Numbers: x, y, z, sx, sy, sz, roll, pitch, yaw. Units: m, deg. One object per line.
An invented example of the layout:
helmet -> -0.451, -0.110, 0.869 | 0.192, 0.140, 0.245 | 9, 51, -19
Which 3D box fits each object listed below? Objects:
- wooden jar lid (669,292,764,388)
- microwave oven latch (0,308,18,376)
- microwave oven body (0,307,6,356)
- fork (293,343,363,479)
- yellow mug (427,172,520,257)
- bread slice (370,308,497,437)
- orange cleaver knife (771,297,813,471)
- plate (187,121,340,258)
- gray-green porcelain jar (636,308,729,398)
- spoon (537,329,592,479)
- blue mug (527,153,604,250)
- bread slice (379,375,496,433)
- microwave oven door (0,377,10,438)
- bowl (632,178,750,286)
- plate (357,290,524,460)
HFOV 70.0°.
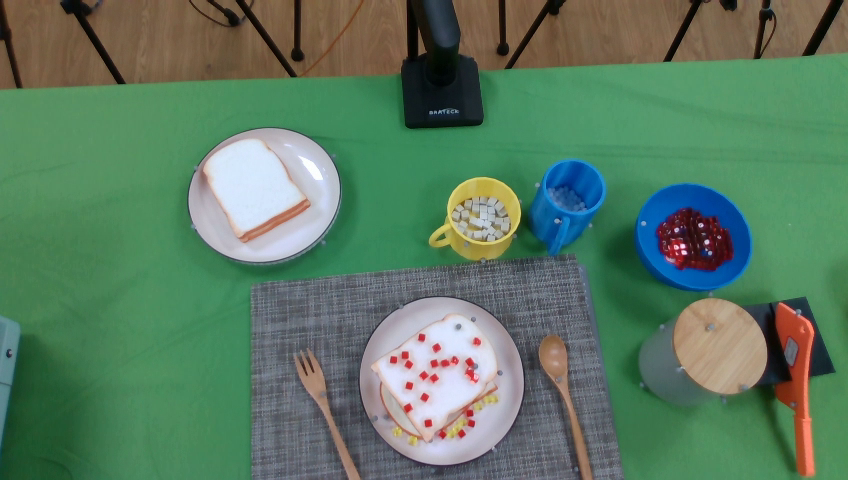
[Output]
wooden jar lid -> 0.328, 0.113, 0.685 | 0.108, 0.021, 0.107 | 1, 71, -4
microwave oven latch -> -0.522, 0.125, 0.741 | 0.030, 0.029, 0.078 | 1, 70, -2
microwave oven body -> -0.656, 0.261, 0.581 | 0.326, 0.261, 0.438 | -3, 70, -3
fork -> -0.114, 0.222, 0.747 | 0.028, 0.019, 0.206 | -22, 70, -18
yellow mug -> 0.063, -0.028, 0.828 | 0.131, 0.064, 0.099 | -24, 71, -9
bread slice -> 0.017, 0.144, 0.709 | 0.134, 0.018, 0.106 | -38, 80, -20
orange cleaver knife -> 0.458, 0.178, 0.756 | 0.012, 0.077, 0.211 | -6, 96, -4
plate -> -0.220, -0.069, 0.847 | 0.208, 0.039, 0.206 | 1, 69, -2
gray-green porcelain jar -> 0.327, 0.137, 0.743 | 0.106, 0.127, 0.105 | 1, 69, -2
spoon -> 0.180, 0.207, 0.762 | 0.042, 0.022, 0.192 | -3, 68, -26
blue mug -> 0.185, -0.042, 0.817 | 0.082, 0.106, 0.116 | 15, 70, 4
bread slice -> 0.012, 0.177, 0.762 | 0.131, 0.019, 0.104 | -35, 73, -16
microwave oven door -> -0.508, 0.292, 0.570 | 0.039, 0.245, 0.353 | -3, 69, -3
bowl -> 0.348, -0.001, 0.821 | 0.151, 0.077, 0.150 | 1, 69, -2
plate -> 0.020, 0.167, 0.763 | 0.209, 0.038, 0.207 | 1, 69, -2
